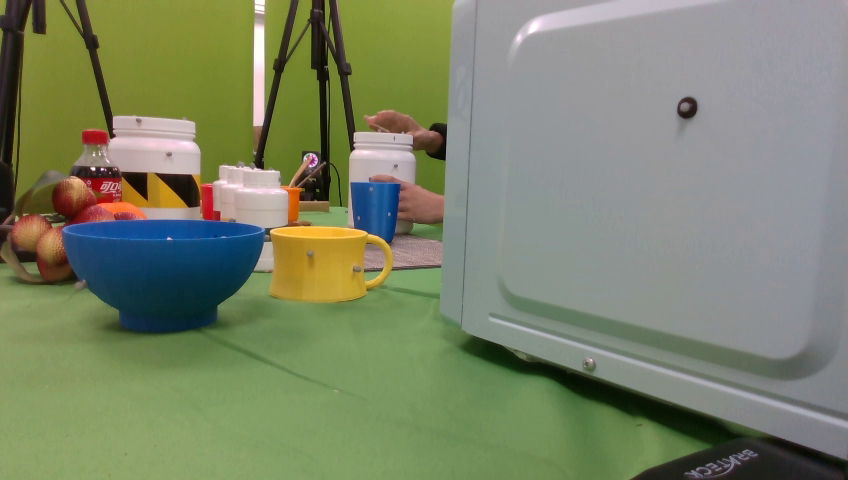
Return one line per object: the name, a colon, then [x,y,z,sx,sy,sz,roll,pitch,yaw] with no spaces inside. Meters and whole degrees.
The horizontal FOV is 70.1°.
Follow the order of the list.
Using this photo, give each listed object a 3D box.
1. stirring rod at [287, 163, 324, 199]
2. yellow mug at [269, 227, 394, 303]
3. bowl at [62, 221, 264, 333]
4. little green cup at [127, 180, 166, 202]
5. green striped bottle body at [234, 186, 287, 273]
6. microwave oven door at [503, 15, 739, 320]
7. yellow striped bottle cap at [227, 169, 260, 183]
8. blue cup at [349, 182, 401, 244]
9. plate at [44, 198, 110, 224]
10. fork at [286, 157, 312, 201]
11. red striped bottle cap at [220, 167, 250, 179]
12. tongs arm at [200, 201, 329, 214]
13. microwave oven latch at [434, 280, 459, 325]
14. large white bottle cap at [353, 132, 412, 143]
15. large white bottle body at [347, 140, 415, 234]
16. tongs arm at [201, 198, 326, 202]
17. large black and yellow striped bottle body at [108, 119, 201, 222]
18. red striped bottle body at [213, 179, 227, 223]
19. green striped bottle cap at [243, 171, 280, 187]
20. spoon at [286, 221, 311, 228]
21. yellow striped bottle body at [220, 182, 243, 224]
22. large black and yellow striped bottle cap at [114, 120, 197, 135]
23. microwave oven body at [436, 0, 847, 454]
stirring rod: [-0.278,-0.105,1.293,0.176,0.006,0.014,-46,25,-18]
yellow mug: [-0.094,0.023,0.629,0.131,0.064,0.099,0,7,-22]
bowl: [-0.209,0.029,0.496,0.151,0.077,0.151,2,7,0]
little green cup: [-0.486,-0.086,1.061,0.061,0.038,0.061,1,7,0]
green striped bottle body: [-0.200,-0.023,0.743,0.063,0.119,0.063,2,7,0]
microwave oven door: [0.218,-0.065,0.600,0.358,0.243,0.039,-4,10,-41]
yellow striped bottle cap: [-0.243,-0.087,0.818,0.044,0.018,0.044,3,6,0]
blue cup: [-0.082,-0.046,1.010,0.093,0.100,0.092,1,6,0]
plate: [-0.617,-0.056,1.179,0.209,0.038,0.209,3,7,0]
fork: [-0.289,-0.116,1.321,0.028,0.018,0.207,7,52,18]
red striped bottle cap: [-0.281,-0.100,0.901,0.044,0.017,0.044,-1,5,0]
tongs arm: [-0.378,-0.079,1.440,0.387,0.026,0.050,-4,8,-44]
microwave oven latch: [0.044,0.045,0.470,0.079,0.029,0.030,-2,8,-39]
large white bottle cap: [-0.080,-0.195,1.161,0.115,0.018,0.115,2,7,0]
large white bottle body: [-0.083,-0.110,1.173,0.131,0.184,0.130,2,8,0]
tongs arm: [-0.433,-0.090,1.508,0.390,0.028,0.028,-1,2,-29]
large black and yellow striped bottle body: [-0.412,-0.088,0.930,0.131,0.184,0.130,3,7,0]
red striped bottle body: [-0.284,-0.048,0.909,0.063,0.119,0.063,3,11,0]
green striped bottle cap: [-0.198,-0.074,0.736,0.044,0.020,0.044,1,7,0]
spoon: [-0.232,-0.027,1.116,0.041,0.021,0.193,-22,6,4]
yellow striped bottle body: [-0.246,-0.036,0.825,0.063,0.120,0.063,3,8,0]
large black and yellow striped bottle cap: [-0.407,-0.171,0.920,0.115,0.019,0.115,2,9,0]
microwave oven body: [0.279,-0.040,0.465,0.444,0.260,0.324,-3,9,-41]
